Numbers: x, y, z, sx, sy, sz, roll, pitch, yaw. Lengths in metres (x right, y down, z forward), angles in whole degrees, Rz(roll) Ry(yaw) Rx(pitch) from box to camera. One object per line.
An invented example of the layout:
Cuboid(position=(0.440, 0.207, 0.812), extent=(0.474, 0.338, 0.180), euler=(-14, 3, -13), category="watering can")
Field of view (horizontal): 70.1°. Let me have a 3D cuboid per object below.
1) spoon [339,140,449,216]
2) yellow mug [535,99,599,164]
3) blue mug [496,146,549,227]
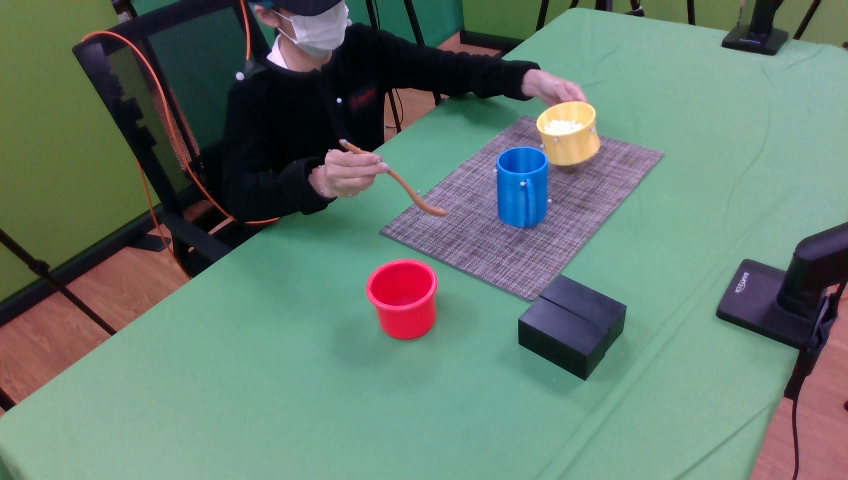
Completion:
Cuboid(position=(-0.038, -0.085, 0.837), extent=(0.021, 0.195, 0.041), euler=(-50, 29, 5), category="spoon")
Cuboid(position=(0.254, -0.199, 1.058), extent=(0.099, 0.064, 0.131), euler=(1, 43, 27), category="yellow mug")
Cuboid(position=(0.162, -0.076, 0.969), extent=(0.082, 0.106, 0.116), euler=(-9, 40, -1), category="blue mug")
